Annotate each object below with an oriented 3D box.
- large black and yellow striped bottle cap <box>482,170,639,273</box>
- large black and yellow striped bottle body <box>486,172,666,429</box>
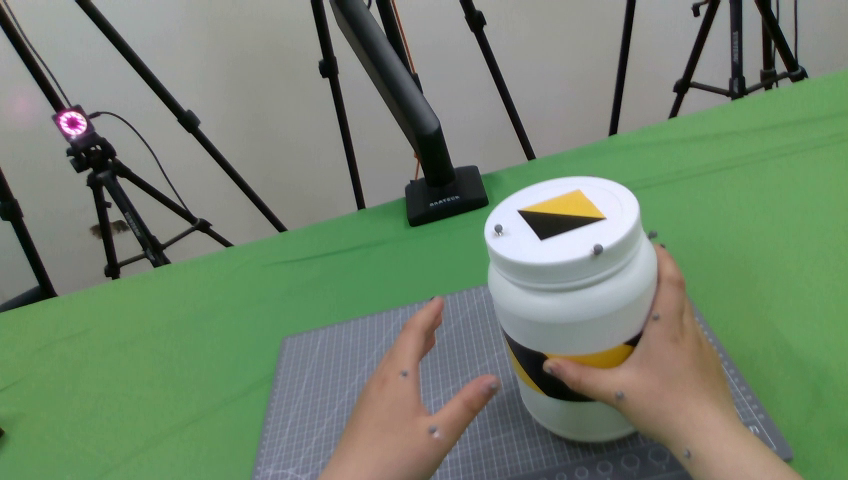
[{"bbox_3d":[0.100,-0.017,0.454,0.115,0.019,0.114,-13,32,9],"label":"large black and yellow striped bottle cap"},{"bbox_3d":[0.125,0.050,0.499,0.130,0.186,0.129,-14,33,9],"label":"large black and yellow striped bottle body"}]
